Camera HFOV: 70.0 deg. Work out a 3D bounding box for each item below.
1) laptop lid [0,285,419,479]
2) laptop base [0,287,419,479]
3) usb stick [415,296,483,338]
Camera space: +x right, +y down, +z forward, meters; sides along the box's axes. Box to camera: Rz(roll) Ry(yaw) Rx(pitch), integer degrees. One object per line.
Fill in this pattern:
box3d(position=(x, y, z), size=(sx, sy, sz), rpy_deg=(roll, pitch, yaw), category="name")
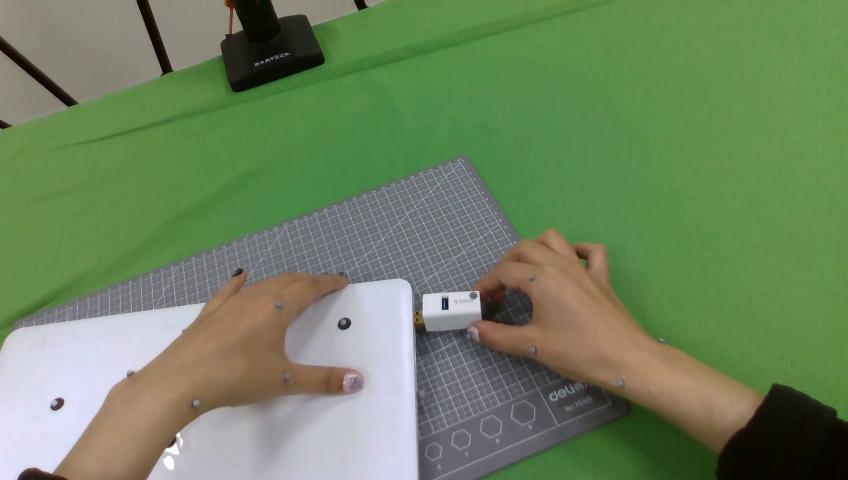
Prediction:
box3d(position=(-0.178, 0.149, 0.432), size=(0.356, 0.013, 0.239), rpy_deg=(-6, 52, 7), category="laptop lid")
box3d(position=(-0.177, 0.154, 0.443), size=(0.354, 0.023, 0.233), rpy_deg=(-8, 53, 5), category="laptop base")
box3d(position=(0.015, 0.060, 0.465), size=(0.059, 0.027, 0.021), rpy_deg=(-7, 50, 10), category="usb stick")
